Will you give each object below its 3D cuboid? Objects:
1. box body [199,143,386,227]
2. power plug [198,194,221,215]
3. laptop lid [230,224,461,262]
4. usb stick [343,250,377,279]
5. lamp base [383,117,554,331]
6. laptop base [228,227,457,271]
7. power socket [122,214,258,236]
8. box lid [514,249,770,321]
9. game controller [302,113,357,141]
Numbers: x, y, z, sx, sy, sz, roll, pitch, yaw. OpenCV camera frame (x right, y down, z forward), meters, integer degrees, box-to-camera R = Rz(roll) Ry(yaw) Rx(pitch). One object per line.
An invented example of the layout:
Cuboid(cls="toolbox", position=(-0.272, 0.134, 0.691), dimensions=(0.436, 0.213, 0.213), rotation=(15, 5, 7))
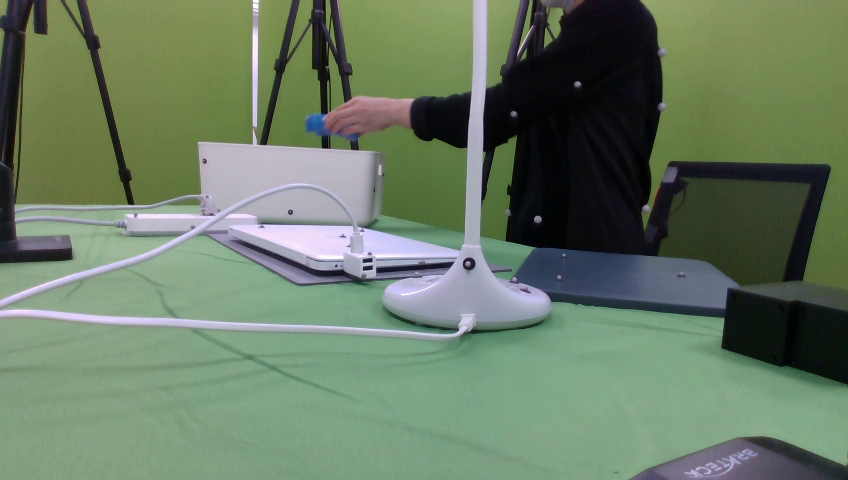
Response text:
Cuboid(cls="box body", position=(-0.277, -0.124, 1.335), dimensions=(0.364, 0.160, 0.254), rotation=(3, 7, 1))
Cuboid(cls="power plug", position=(-0.387, -0.055, 1.089), dimensions=(0.035, 0.052, 0.072), rotation=(-1, 7, -22))
Cuboid(cls="laptop lid", position=(-0.120, 0.000, 0.888), dimensions=(0.243, 0.013, 0.355), rotation=(1, 7, -33))
Cuboid(cls="usb stick", position=(-0.076, 0.026, 0.687), dimensions=(0.021, 0.027, 0.059), rotation=(-8, 9, -31))
Cuboid(cls="lamp base", position=(0.045, -0.019, 0.547), dimensions=(0.161, 0.180, 0.179), rotation=(2, 10, -4))
Cuboid(cls="laptop base", position=(-0.122, 0.011, 0.889), dimensions=(0.237, 0.023, 0.352), rotation=(2, 6, -35))
Cuboid(cls="power socket", position=(-0.398, -0.028, 1.049), dimensions=(0.228, 0.032, 0.072), rotation=(-3, 8, -34))
Cuboid(cls="box lid", position=(0.259, 0.048, 0.781), dimensions=(0.263, 0.015, 0.372), rotation=(4, 7, 14))
Cuboid(cls="game controller", position=(-0.201, -0.244, 1.300), dimensions=(0.097, 0.051, 0.155), rotation=(2, 5, 3))
